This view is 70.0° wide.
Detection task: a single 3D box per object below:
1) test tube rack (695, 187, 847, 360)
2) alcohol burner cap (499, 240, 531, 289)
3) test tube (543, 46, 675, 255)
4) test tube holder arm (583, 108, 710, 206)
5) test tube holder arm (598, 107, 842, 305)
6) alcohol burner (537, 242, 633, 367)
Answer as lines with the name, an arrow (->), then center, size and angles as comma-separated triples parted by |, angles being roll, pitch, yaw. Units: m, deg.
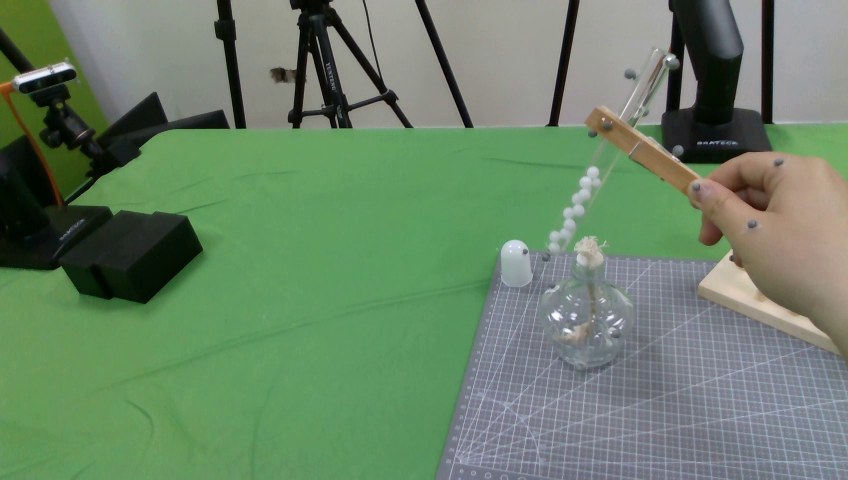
test tube rack -> 0.348, 0.044, 0.473 | 0.067, 0.086, 0.240 | -35, 43, -29
alcohol burner cap -> 0.090, 0.021, 0.600 | 0.034, 0.048, 0.033 | -5, 38, 5
test tube -> 0.117, -0.053, 0.397 | 0.017, 0.151, 0.017 | 20, 26, -10
test tube holder arm -> 0.138, -0.052, 0.380 | 0.087, 0.015, 0.010 | 39, 32, 11
test tube holder arm -> 0.174, -0.025, 0.373 | 0.177, 0.015, 0.013 | 43, 33, 17
alcohol burner -> 0.132, 0.048, 0.496 | 0.078, 0.120, 0.077 | -5, 39, 5
